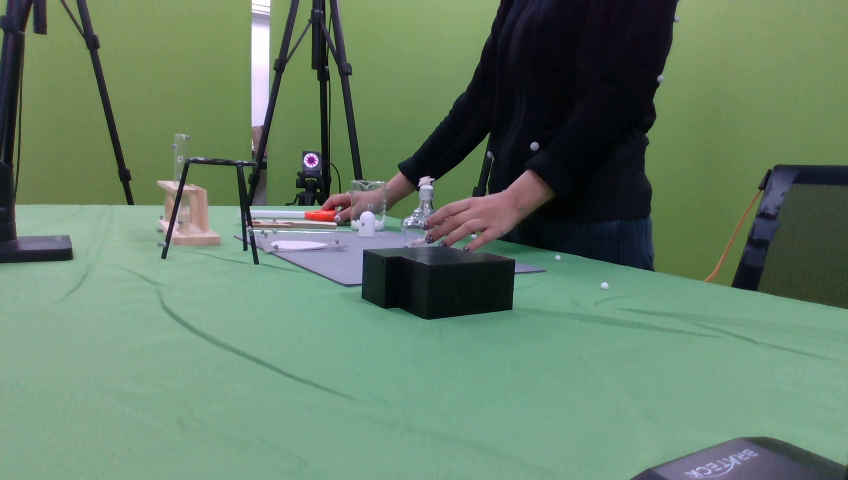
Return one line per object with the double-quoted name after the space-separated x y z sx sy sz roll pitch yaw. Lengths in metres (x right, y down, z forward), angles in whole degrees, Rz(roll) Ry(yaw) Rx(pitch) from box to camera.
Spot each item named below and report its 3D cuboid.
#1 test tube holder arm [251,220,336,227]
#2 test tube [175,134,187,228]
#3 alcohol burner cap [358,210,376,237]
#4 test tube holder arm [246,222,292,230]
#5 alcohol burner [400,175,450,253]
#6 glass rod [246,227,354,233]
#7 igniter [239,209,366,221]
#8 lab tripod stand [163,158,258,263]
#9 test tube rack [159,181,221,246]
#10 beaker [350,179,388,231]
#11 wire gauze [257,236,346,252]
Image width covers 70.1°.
-0.253 -0.031 1.156 0.179 0.015 0.013 -2 43 -30 "test tube holder arm"
-0.388 -0.094 0.964 0.017 0.150 0.017 1 2 0 "test tube"
-0.104 -0.030 1.098 0.034 0.048 0.034 2 8 0 "alcohol burner cap"
-0.291 -0.026 1.130 0.088 0.015 0.010 -1 43 -29 "test tube holder arm"
0.003 -0.040 0.933 0.078 0.119 0.078 3 9 0 "alcohol burner"
-0.224 -0.018 1.109 0.201 0.008 0.008 1 7 -27 "glass rod"
-0.240 -0.053 1.259 0.278 0.025 0.057 0 1 -24 "igniter"
-0.265 -0.041 0.802 0.148 0.131 0.148 4 6 0 "lab tripod stand"
-0.395 -0.050 1.010 0.067 0.085 0.241 -2 8 -28 "test tube rack"
-0.111 -0.069 1.204 0.074 0.100 0.084 2 8 0 "beaker"
-0.189 0.005 0.931 0.122 0.011 0.124 1 7 -21 "wire gauze"
